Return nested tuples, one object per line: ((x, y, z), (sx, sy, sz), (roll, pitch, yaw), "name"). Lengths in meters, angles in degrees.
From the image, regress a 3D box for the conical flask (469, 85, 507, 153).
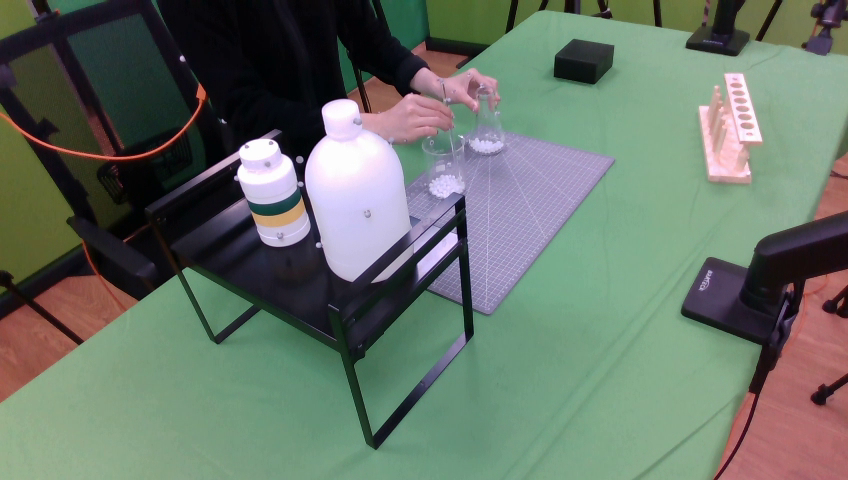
((0.120, -0.231, 1.147), (0.075, 0.122, 0.075), (-4, 43, 4), "conical flask")

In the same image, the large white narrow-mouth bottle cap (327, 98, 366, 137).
((-0.075, -0.118, 0.582), (0.038, 0.024, 0.037), (-3, 40, 3), "large white narrow-mouth bottle cap")

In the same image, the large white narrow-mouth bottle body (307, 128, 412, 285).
((-0.070, -0.051, 0.638), (0.102, 0.195, 0.101), (-3, 40, 3), "large white narrow-mouth bottle body")

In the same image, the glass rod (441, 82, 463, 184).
((0.049, -0.175, 1.021), (0.008, 0.201, 0.008), (-8, 40, 7), "glass rod")

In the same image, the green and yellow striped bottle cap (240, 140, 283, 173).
((-0.183, -0.094, 0.679), (0.045, 0.020, 0.045), (-4, 38, 4), "green and yellow striped bottle cap")

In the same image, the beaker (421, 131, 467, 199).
((0.040, -0.130, 1.060), (0.084, 0.100, 0.073), (-24, 43, -20), "beaker")

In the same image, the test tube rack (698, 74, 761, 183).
((0.547, -0.208, 1.095), (0.066, 0.085, 0.242), (5, 42, 15), "test tube rack")

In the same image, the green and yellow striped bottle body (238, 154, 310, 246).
((-0.178, -0.056, 0.714), (0.063, 0.120, 0.063), (-4, 40, 4), "green and yellow striped bottle body")
